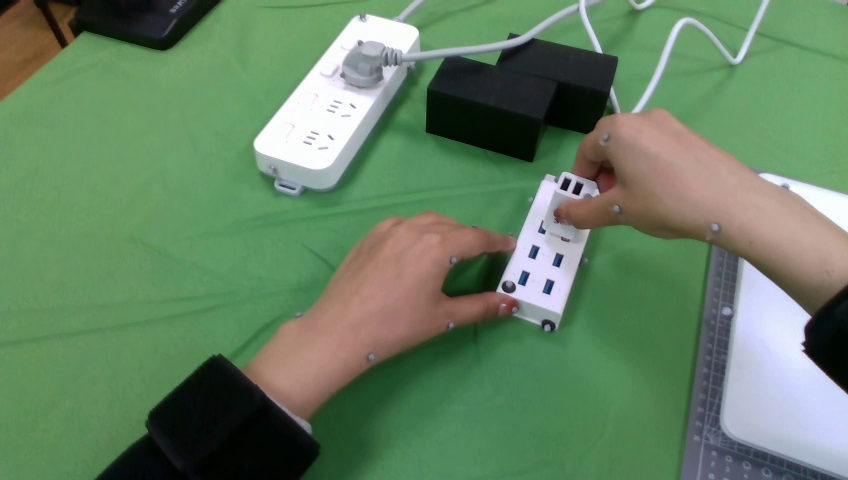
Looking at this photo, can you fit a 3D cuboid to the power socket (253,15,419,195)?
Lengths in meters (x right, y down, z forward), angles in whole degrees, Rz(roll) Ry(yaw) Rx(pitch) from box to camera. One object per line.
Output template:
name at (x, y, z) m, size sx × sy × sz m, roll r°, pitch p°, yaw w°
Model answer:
power socket at (-0.072, -0.130, 0.545) m, size 0.072 × 0.033 × 0.225 m, roll 19°, pitch 55°, yaw 11°

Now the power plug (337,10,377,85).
power plug at (-0.058, -0.166, 0.545) m, size 0.035 × 0.053 × 0.072 m, roll 11°, pitch 46°, yaw -6°

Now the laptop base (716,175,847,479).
laptop base at (0.386, 0.090, 0.409) m, size 0.353 × 0.023 × 0.234 m, roll 19°, pitch 58°, yaw 11°

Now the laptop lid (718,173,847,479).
laptop lid at (0.386, 0.085, 0.398) m, size 0.355 × 0.013 × 0.240 m, roll 20°, pitch 58°, yaw 12°

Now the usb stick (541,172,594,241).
usb stick at (0.101, -0.019, 0.433) m, size 0.027 × 0.059 × 0.021 m, roll 19°, pitch 58°, yaw 14°

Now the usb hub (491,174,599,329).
usb hub at (0.094, 0.004, 0.458) m, size 0.049 × 0.025 × 0.124 m, roll 19°, pitch 55°, yaw 13°
